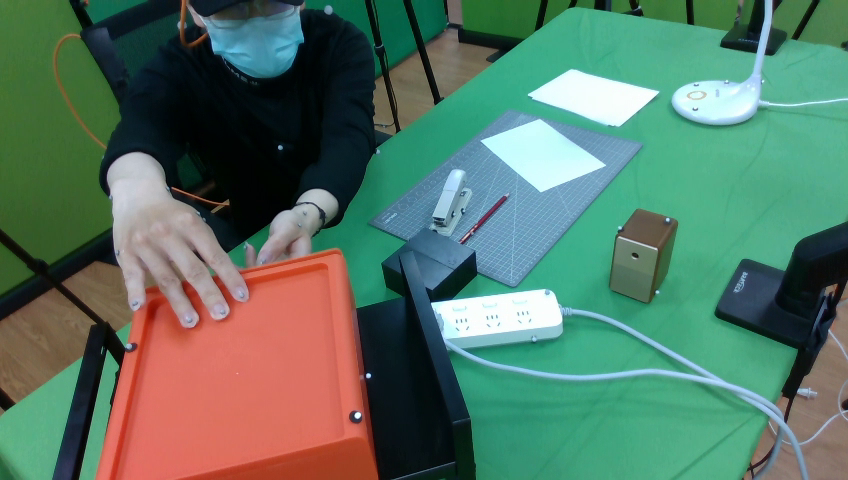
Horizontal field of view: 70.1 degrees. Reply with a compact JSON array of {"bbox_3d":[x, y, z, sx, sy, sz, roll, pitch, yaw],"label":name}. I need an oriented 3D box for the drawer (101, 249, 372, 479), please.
[{"bbox_3d":[-0.156,0.117,0.538,0.195,0.073,0.210,-11,42,-5],"label":"drawer"}]

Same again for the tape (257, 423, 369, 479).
[{"bbox_3d":[-0.121,0.263,0.660,0.117,0.053,0.116,-4,40,4],"label":"tape"}]

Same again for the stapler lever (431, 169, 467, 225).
[{"bbox_3d":[0.043,-0.074,1.010,0.026,0.040,0.118,9,44,21],"label":"stapler lever"}]

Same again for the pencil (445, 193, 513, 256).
[{"bbox_3d":[0.095,-0.030,0.999,0.012,0.012,0.194,24,47,31],"label":"pencil"}]

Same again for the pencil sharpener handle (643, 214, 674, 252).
[{"bbox_3d":[0.337,-0.016,0.857,0.035,0.068,0.031,1,35,44],"label":"pencil sharpener handle"}]

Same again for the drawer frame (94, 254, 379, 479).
[{"bbox_3d":[-0.153,0.123,0.528,0.202,0.083,0.212,-12,41,-6],"label":"drawer frame"}]

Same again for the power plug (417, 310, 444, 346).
[{"bbox_3d":[0.006,0.122,0.785,0.035,0.053,0.072,0,40,9],"label":"power plug"}]

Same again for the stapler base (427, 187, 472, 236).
[{"bbox_3d":[0.045,-0.057,1.028,0.041,0.024,0.130,9,44,21],"label":"stapler base"}]

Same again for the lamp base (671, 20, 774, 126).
[{"bbox_3d":[0.581,-0.332,1.154,0.179,0.181,0.160,2,41,7],"label":"lamp base"}]

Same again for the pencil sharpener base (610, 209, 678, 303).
[{"bbox_3d":[0.304,0.021,0.839,0.061,0.107,0.077,21,48,30],"label":"pencil sharpener base"}]

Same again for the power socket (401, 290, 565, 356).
[{"bbox_3d":[0.080,0.112,0.822,0.227,0.033,0.072,-6,41,0],"label":"power socket"}]
